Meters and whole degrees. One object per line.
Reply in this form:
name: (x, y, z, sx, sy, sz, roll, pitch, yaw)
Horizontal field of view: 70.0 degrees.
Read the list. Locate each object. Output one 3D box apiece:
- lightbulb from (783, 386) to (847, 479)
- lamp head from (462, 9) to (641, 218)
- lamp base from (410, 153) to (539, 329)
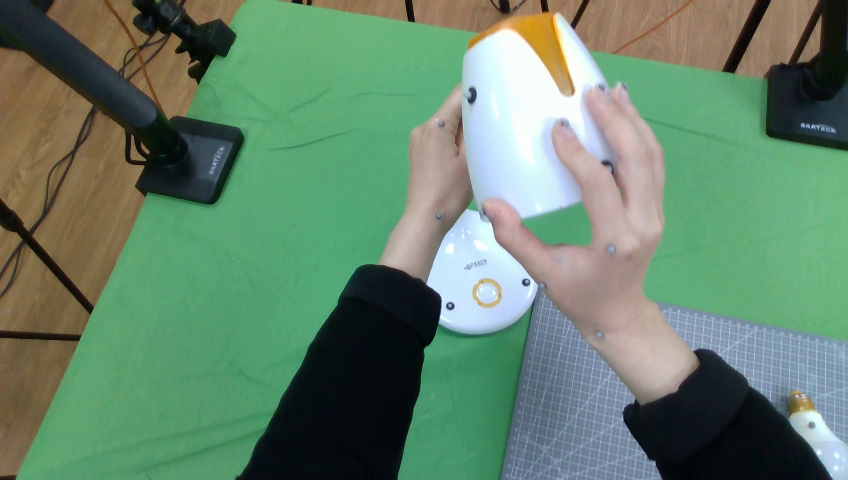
lightbulb: (0.416, 0.208, 0.652, 0.059, 0.060, 0.106, -2, 52, 3)
lamp head: (0.072, -0.087, 0.405, 0.112, 0.112, 0.123, -21, 95, -5)
lamp base: (0.052, -0.006, 0.694, 0.160, 0.181, 0.177, -28, 66, -9)
